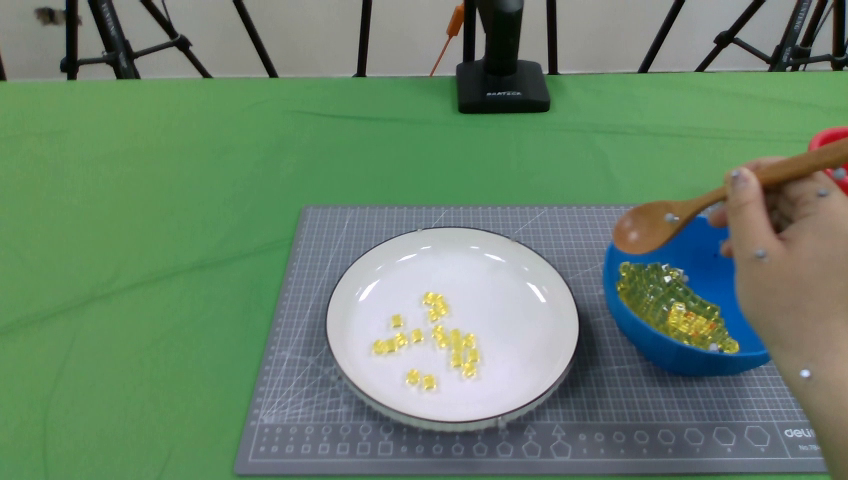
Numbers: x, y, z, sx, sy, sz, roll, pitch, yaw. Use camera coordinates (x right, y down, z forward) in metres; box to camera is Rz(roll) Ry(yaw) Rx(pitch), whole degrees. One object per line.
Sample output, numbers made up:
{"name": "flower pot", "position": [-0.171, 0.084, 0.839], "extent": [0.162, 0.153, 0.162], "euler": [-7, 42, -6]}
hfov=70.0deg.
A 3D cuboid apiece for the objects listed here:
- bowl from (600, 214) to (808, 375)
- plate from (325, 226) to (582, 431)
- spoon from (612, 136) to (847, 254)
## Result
{"name": "bowl", "position": [0.212, 0.055, 0.489], "extent": [0.151, 0.077, 0.150], "euler": [0, 43, 1]}
{"name": "plate", "position": [0.024, 0.070, 0.506], "extent": [0.208, 0.039, 0.205], "euler": [0, 43, 1]}
{"name": "spoon", "position": [0.184, -0.027, 0.372], "extent": [0.022, 0.194, 0.041], "euler": [22, 69, -13]}
